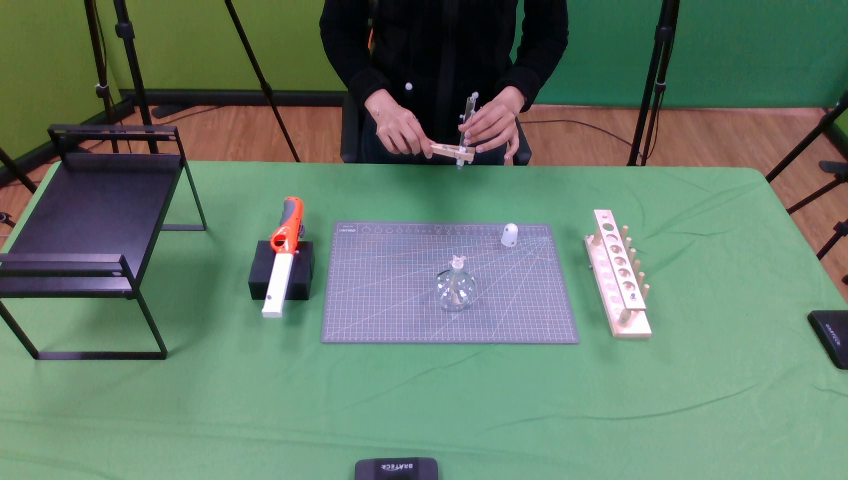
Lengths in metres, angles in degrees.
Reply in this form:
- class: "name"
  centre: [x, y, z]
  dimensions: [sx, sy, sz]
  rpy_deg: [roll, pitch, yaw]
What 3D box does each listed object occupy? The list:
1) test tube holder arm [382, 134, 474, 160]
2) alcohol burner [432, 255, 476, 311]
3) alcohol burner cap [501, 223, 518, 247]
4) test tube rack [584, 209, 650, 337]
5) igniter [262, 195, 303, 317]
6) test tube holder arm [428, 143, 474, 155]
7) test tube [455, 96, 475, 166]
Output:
- class: "test tube holder arm"
  centre: [0.006, -0.175, 1.136]
  dimensions: [0.178, 0.015, 0.013]
  rpy_deg: [13, 43, 9]
- class: "alcohol burner"
  centre: [0.055, 0.070, 1.068]
  dimensions: [0.078, 0.119, 0.077]
  rpy_deg: [3, 45, -3]
- class: "alcohol burner cap"
  centre: [0.172, -0.013, 1.206]
  dimensions: [0.034, 0.048, 0.033]
  rpy_deg: [1, 46, -1]
- class: "test tube rack"
  centre: [0.365, 0.056, 1.129]
  dimensions: [0.067, 0.085, 0.240]
  rpy_deg: [1, 46, -3]
- class: "igniter"
  centre: [-0.253, 0.020, 1.090]
  dimensions: [0.057, 0.025, 0.275]
  rpy_deg: [0, 49, -1]
- class: "test tube holder arm"
  centre: [0.050, -0.171, 1.134]
  dimensions: [0.088, 0.015, 0.010]
  rpy_deg: [5, 43, 1]
- class: "test tube"
  centre: [0.073, -0.193, 1.097]
  dimensions: [0.017, 0.151, 0.017]
  rpy_deg: [4, 46, -4]
